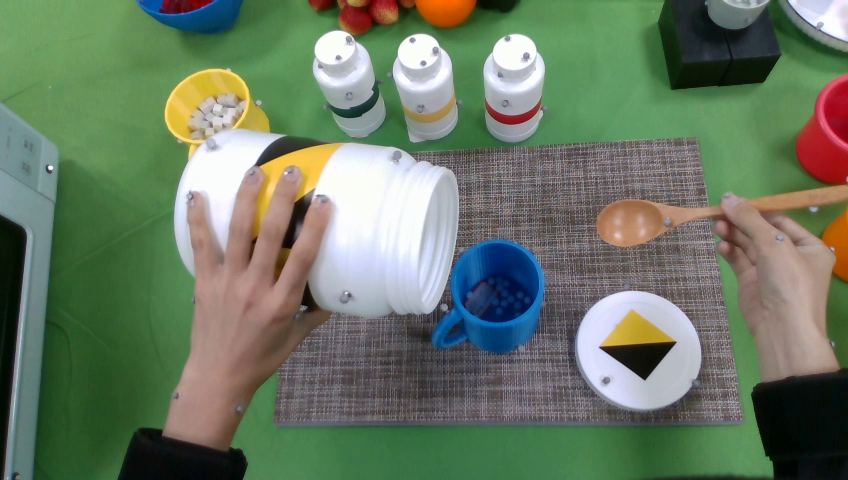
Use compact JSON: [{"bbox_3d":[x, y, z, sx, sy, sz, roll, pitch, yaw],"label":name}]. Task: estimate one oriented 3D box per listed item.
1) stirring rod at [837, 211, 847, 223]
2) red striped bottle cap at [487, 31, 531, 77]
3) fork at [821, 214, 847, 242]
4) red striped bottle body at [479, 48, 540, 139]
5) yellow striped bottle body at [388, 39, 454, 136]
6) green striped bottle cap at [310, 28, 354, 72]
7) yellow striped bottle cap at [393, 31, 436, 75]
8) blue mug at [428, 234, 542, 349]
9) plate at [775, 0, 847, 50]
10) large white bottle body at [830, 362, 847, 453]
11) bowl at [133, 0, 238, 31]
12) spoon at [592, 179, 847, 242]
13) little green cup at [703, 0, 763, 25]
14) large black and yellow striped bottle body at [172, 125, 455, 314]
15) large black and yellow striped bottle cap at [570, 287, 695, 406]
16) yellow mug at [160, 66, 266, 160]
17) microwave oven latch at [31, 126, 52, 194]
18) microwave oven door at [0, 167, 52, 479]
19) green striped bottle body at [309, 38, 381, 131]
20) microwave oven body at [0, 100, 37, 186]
[{"bbox_3d":[0.417,0.011,0.534,0.014,0.006,0.175,1,26,4],"label":"stirring rod"},{"bbox_3d":[0.085,-0.185,0.600,0.044,0.018,0.044,-1,67,3],"label":"red striped bottle cap"},{"bbox_3d":[0.446,0.011,0.522,0.028,0.019,0.205,-32,24,-11],"label":"fork"},{"bbox_3d":[0.091,-0.165,0.649,0.063,0.120,0.062,-2,68,6],"label":"red striped bottle body"},{"bbox_3d":[-0.003,-0.171,0.662,0.063,0.121,0.062,-3,68,7],"label":"yellow striped bottle body"},{"bbox_3d":[-0.095,-0.197,0.627,0.044,0.020,0.044,-2,67,6],"label":"green striped bottle cap"},{"bbox_3d":[-0.010,-0.190,0.614,0.044,0.019,0.044,-1,66,2],"label":"yellow striped bottle cap"},{"bbox_3d":[0.053,0.061,0.571,0.116,0.106,0.081,-34,68,-6],"label":"blue mug"},{"bbox_3d":[0.500,-0.298,0.694,0.209,0.038,0.207,-2,70,6],"label":"plate"},{"bbox_3d":[0.421,0.128,0.462,0.130,0.186,0.129,-2,68,7],"label":"large white bottle body"},{"bbox_3d":[-0.293,-0.325,0.778,0.151,0.077,0.150,-2,69,6],"label":"bowl"},{"bbox_3d":[0.237,-0.027,0.494,0.193,0.022,0.041,-7,87,25],"label":"spoon"},{"bbox_3d":[0.330,-0.262,0.646,0.061,0.039,0.061,-2,67,5],"label":"little green cup"},{"bbox_3d":[-0.077,-0.015,0.465,0.183,0.132,0.130,9,70,14],"label":"large black and yellow striped bottle body"},{"bbox_3d":[0.201,0.102,0.586,0.115,0.019,0.114,-2,68,6],"label":"large black and yellow striped bottle cap"},{"bbox_3d":[-0.248,-0.129,0.705,0.100,0.064,0.130,7,71,10],"label":"yellow mug"},{"bbox_3d":[-0.458,-0.092,0.710,0.030,0.030,0.078,-9,69,3],"label":"microwave oven latch"},{"bbox_3d":[-0.438,0.073,0.537,0.039,0.245,0.353,-11,68,3],"label":"microwave oven door"},{"bbox_3d":[-0.088,-0.178,0.675,0.063,0.120,0.062,-2,69,6],"label":"green striped bottle body"},{"bbox_3d":[-0.587,0.063,0.564,0.326,0.262,0.438,-11,69,2],"label":"microwave oven body"}]
